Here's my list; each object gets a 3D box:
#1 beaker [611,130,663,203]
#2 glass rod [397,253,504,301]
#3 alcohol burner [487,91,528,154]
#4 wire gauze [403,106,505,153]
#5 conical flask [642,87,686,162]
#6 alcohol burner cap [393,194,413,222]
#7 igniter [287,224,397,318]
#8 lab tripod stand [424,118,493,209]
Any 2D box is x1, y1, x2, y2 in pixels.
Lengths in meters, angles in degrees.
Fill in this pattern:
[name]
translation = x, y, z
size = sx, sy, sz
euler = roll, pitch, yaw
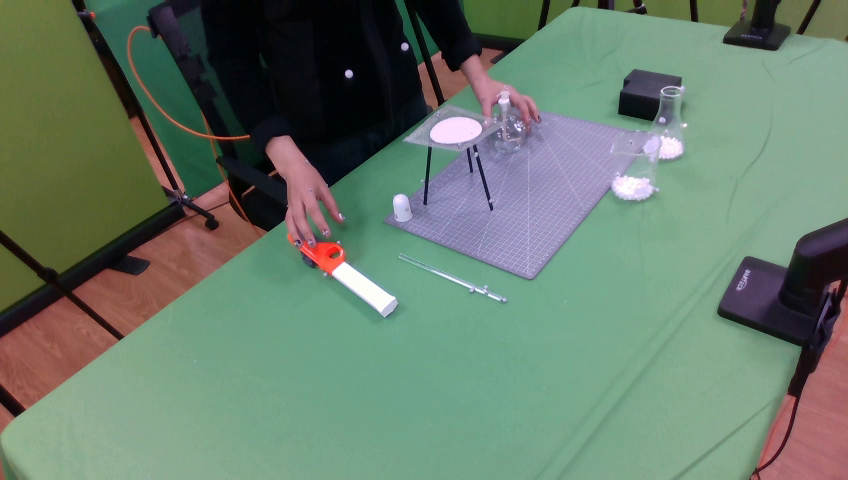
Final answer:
[beaker]
translation = 0.346, -0.118, 0.998
size = 0.084, 0.101, 0.073
euler = -17, 40, -7
[glass rod]
translation = 0.036, 0.054, 0.922
size = 0.198, 0.008, 0.008
euler = 22, 50, 30
[alcohol burner]
translation = 0.156, -0.225, 1.143
size = 0.078, 0.120, 0.077
euler = -9, 40, 8
[wire gauze]
translation = 0.049, -0.181, 0.992
size = 0.120, 0.011, 0.125
euler = 23, 48, 34
[conical flask]
translation = 0.429, -0.206, 1.067
size = 0.075, 0.122, 0.075
euler = -6, 40, 6
[alcohol burner cap]
translation = -0.039, -0.057, 1.038
size = 0.034, 0.048, 0.033
euler = -6, 40, 5
[igniter]
translation = -0.139, 0.042, 0.958
size = 0.057, 0.025, 0.274
euler = -41, 49, -19
[lab tripod stand]
translation = 0.061, -0.133, 1.039
size = 0.148, 0.132, 0.147
euler = -6, 39, 6
